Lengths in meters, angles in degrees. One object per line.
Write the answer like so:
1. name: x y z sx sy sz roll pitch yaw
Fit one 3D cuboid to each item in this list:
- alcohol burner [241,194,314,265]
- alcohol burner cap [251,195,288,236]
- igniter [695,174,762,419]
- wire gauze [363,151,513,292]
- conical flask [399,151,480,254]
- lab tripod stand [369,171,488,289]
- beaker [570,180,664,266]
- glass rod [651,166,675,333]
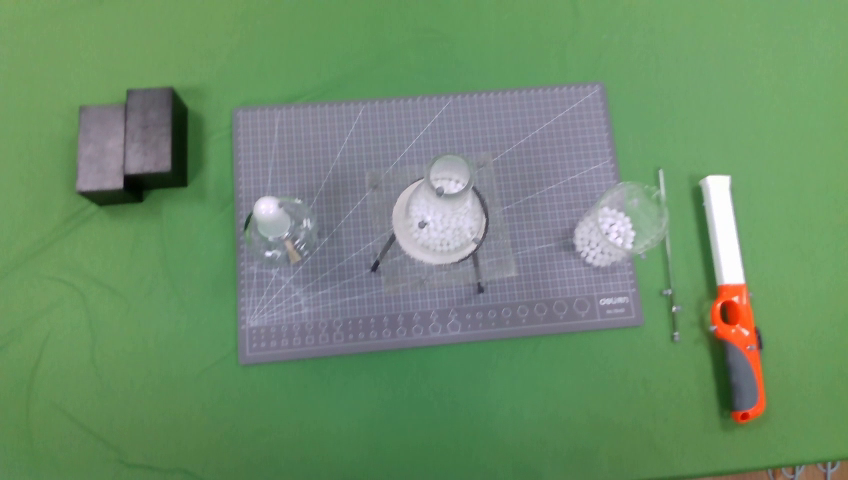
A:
1. alcohol burner: -0.156 -0.016 0.634 0.078 0.119 0.077 1 75 -2
2. alcohol burner cap: -0.155 -0.027 0.600 0.034 0.048 0.033 2 68 -4
3. igniter: 0.343 0.059 0.685 0.057 0.025 0.275 0 77 -12
4. wire gauze: 0.012 -0.017 0.564 0.125 0.011 0.121 -8 80 -6
5. conical flask: 0.016 -0.036 0.507 0.075 0.122 0.075 0 77 -1
6. lab tripod stand: 0.010 -0.005 0.628 0.148 0.132 0.147 0 79 -1
7. beaker: 0.206 -0.015 0.657 0.084 0.100 0.074 -42 82 -11
8. glass rod: 0.278 0.008 0.704 0.008 0.008 0.198 -1 77 -3
